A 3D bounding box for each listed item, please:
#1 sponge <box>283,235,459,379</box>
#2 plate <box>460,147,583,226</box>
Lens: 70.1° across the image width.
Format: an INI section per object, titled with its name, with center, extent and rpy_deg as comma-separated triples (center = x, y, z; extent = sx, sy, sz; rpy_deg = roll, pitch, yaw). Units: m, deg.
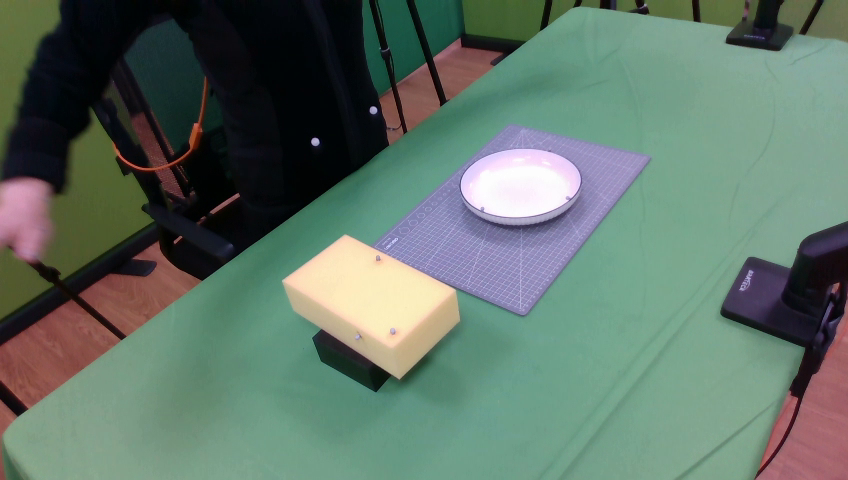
[sponge]
center = -0.071, 0.081, 0.798
extent = 0.205, 0.061, 0.118
rpy_deg = 24, 51, 34
[plate]
center = 0.166, -0.089, 1.043
extent = 0.209, 0.038, 0.208
rpy_deg = -5, 40, 5
